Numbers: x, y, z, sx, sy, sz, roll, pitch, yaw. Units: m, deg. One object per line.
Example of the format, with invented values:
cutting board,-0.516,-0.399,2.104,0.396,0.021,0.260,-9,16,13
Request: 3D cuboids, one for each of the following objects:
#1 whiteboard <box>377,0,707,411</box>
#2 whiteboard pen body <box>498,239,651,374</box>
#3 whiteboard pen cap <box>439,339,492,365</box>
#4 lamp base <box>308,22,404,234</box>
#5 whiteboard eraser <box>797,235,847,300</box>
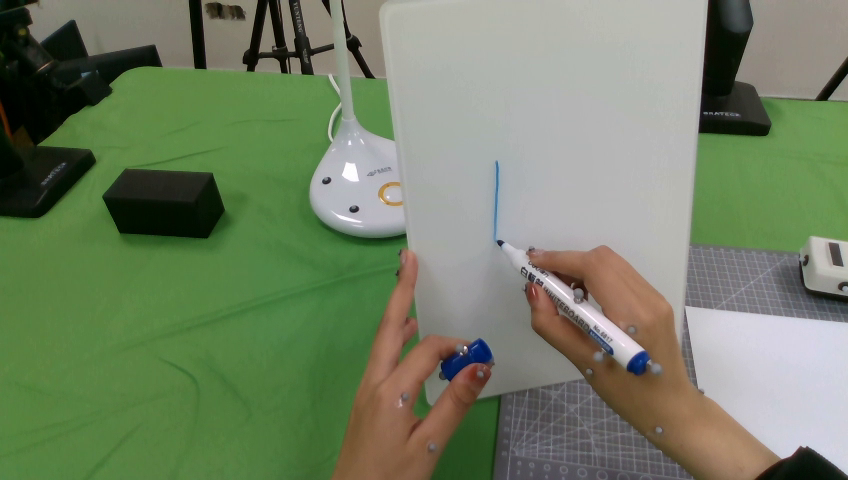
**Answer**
whiteboard,0.083,-0.046,0.496,0.217,0.307,0.142,-9,23,-6
whiteboard pen body,0.089,0.036,0.389,0.017,0.017,0.139,-23,42,-21
whiteboard pen cap,0.028,0.073,0.394,0.033,0.018,0.018,-6,34,38
lamp base,-0.061,-0.124,0.639,0.161,0.182,0.177,-29,46,-26
whiteboard eraser,0.402,0.031,0.546,0.112,0.042,0.055,10,42,14
